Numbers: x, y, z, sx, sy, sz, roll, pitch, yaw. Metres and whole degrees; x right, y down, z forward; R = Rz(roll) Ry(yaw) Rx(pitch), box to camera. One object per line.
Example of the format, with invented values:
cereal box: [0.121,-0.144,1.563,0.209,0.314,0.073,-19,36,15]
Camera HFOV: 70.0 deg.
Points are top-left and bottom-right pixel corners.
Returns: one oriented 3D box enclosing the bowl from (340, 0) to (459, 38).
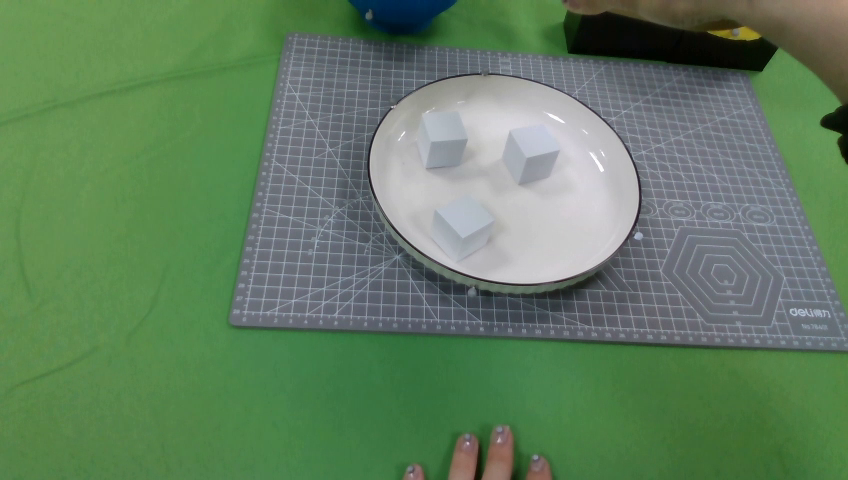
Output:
bowl: [-0.026,-0.247,0.573,0.151,0.077,0.150,3,56,-4]

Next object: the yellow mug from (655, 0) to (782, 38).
yellow mug: [0.269,-0.238,0.548,0.131,0.064,0.099,-11,58,-12]

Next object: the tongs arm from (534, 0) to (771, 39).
tongs arm: [0.048,-0.195,0.426,0.028,0.028,0.383,-36,46,-20]

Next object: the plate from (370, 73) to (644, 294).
plate: [0.062,-0.045,0.470,0.208,0.039,0.205,3,56,-4]

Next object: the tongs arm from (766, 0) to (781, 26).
tongs arm: [0.068,-0.212,0.433,0.050,0.027,0.381,-41,48,-19]
